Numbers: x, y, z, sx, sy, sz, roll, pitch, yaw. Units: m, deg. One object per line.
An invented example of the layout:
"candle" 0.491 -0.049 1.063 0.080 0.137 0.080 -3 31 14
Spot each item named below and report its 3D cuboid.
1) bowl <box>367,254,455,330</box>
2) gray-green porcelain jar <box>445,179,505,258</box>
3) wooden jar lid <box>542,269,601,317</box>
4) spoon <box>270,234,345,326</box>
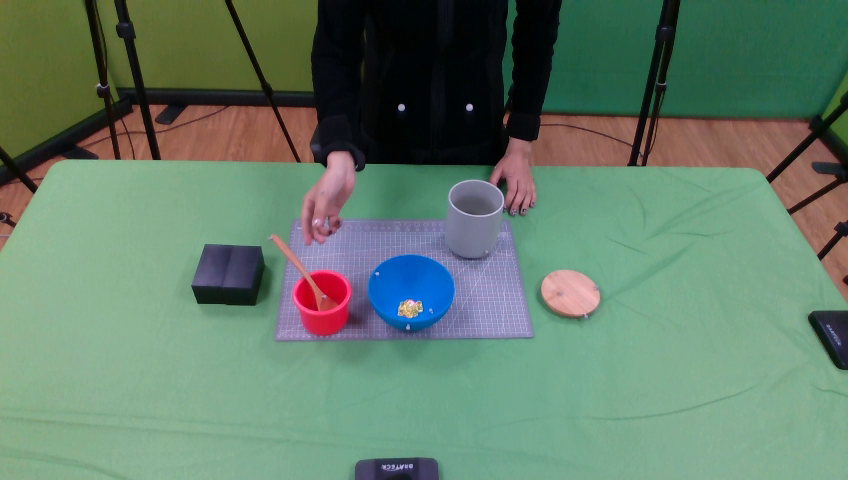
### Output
"bowl" -0.023 0.104 1.053 0.151 0.077 0.150 2 46 -2
"gray-green porcelain jar" 0.095 -0.037 1.162 0.106 0.127 0.105 2 46 -2
"wooden jar lid" 0.272 0.100 1.121 0.108 0.021 0.107 3 47 -2
"spoon" -0.198 0.067 1.031 0.041 0.021 0.194 -43 106 -39
